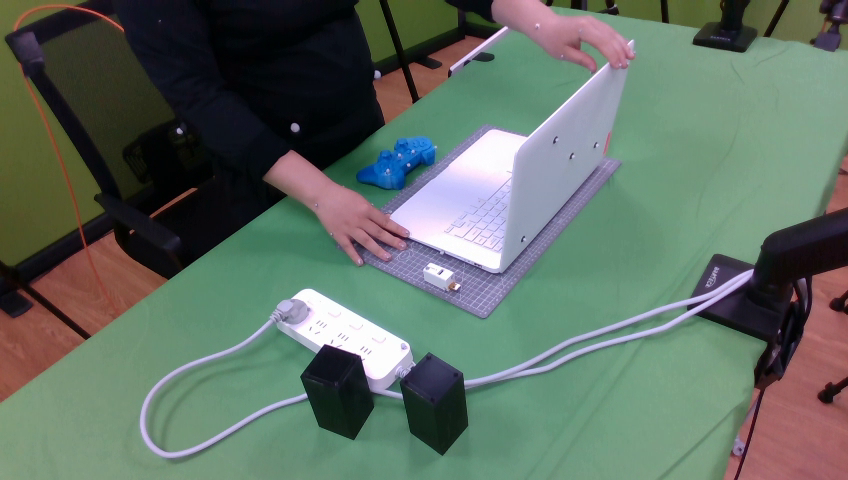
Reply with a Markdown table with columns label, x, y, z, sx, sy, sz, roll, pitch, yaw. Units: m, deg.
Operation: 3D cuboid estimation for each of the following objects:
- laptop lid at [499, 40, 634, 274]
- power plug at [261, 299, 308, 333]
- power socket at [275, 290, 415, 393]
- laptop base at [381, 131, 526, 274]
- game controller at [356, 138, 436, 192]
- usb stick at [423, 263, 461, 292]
| label | x | y | z | sx | sy | sz | roll | pitch | yaw |
| --- | --- | --- | --- | --- | --- | --- | --- | --- | --- |
| laptop lid | 0.217 | -0.128 | 0.905 | 0.013 | 0.242 | 0.358 | 28 | 50 | 25 |
| power plug | -0.193 | 0.110 | 0.830 | 0.073 | 0.053 | 0.035 | -36 | 48 | -23 |
| power socket | -0.114 | 0.132 | 0.821 | 0.225 | 0.033 | 0.072 | 24 | 48 | 32 |
| laptop base | 0.123 | -0.081 | 1.049 | 0.233 | 0.023 | 0.355 | 20 | 47 | 33 |
| game controller | -0.049 | -0.149 | 1.136 | 0.096 | 0.052 | 0.155 | 27 | 51 | 28 |
| usb stick | 0.028 | 0.058 | 0.888 | 0.059 | 0.027 | 0.021 | 24 | 48 | 30 |
